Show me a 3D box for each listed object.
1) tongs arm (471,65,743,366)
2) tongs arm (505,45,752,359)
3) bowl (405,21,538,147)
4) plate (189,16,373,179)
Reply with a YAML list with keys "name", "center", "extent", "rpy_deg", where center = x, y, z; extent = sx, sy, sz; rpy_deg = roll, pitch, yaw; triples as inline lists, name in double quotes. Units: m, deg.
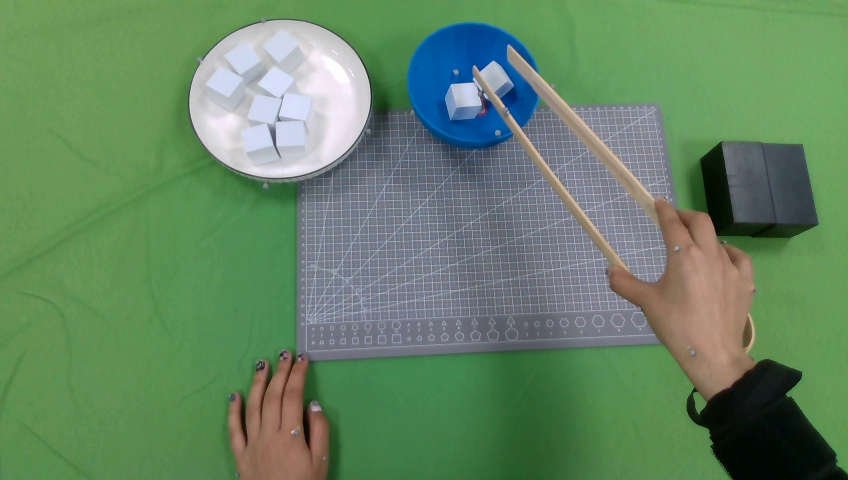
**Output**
- name: "tongs arm"
  center: [0.156, -0.043, 0.579]
  extent: [0.051, 0.027, 0.381]
  rpy_deg: [-27, 65, -4]
- name: "tongs arm"
  center: [0.181, -0.057, 0.581]
  extent: [0.028, 0.028, 0.384]
  rpy_deg: [-28, 65, -8]
- name: "bowl"
  center: [0.051, -0.167, 0.706]
  extent: [0.151, 0.077, 0.150]
  rpy_deg: [1, 74, -4]
- name: "plate"
  center: [-0.164, -0.164, 0.711]
  extent: [0.208, 0.039, 0.206]
  rpy_deg: [1, 74, -3]
